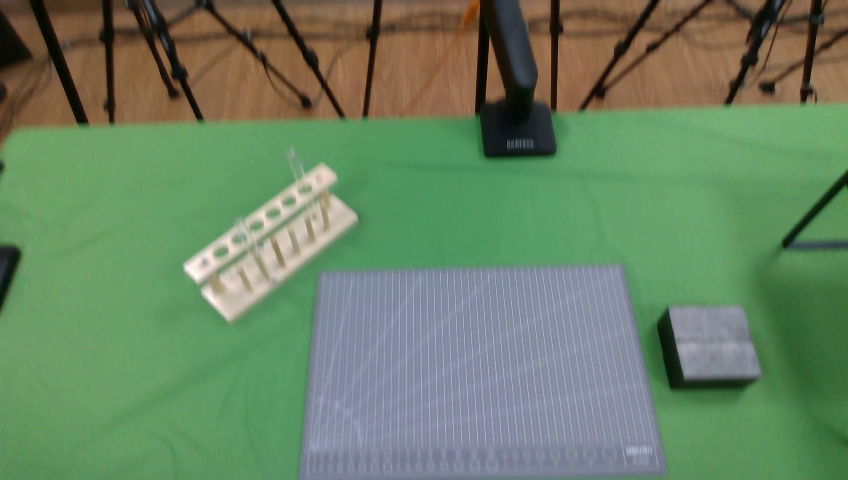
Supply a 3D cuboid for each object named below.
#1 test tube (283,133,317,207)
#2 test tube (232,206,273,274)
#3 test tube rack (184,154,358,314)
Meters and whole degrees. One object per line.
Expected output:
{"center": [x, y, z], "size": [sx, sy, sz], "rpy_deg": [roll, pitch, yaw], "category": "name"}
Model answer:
{"center": [-0.173, -0.095, 0.857], "size": [0.017, 0.151, 0.017], "rpy_deg": [-2, 57, 3], "category": "test tube"}
{"center": [-0.227, 0.002, 0.806], "size": [0.017, 0.152, 0.017], "rpy_deg": [-1, 57, 2], "category": "test tube"}
{"center": [-0.210, -0.011, 0.866], "size": [0.066, 0.086, 0.242], "rpy_deg": [40, 67, 21], "category": "test tube rack"}
